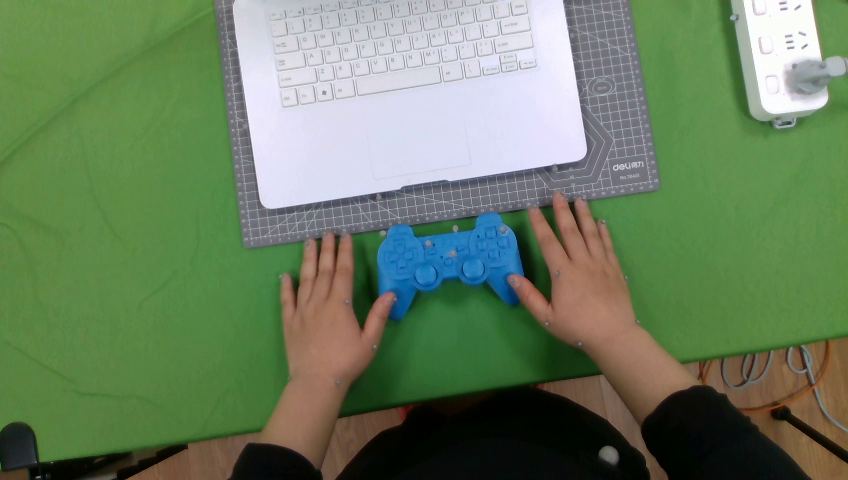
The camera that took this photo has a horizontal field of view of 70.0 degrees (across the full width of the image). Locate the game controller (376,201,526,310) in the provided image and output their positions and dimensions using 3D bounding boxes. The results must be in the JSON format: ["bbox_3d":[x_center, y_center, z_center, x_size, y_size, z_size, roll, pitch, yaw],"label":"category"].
[{"bbox_3d":[0.025,0.015,0.625,0.155,0.052,0.097,-8,82,1],"label":"game controller"}]

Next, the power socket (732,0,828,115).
[{"bbox_3d":[0.366,-0.246,0.635,0.072,0.032,0.226,-7,86,2],"label":"power socket"}]

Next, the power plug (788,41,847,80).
[{"bbox_3d":[0.405,-0.178,0.611,0.072,0.053,0.035,4,86,-2],"label":"power plug"}]

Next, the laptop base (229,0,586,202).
[{"bbox_3d":[-0.020,-0.183,0.651,0.354,0.023,0.235,-10,90,1],"label":"laptop base"}]
